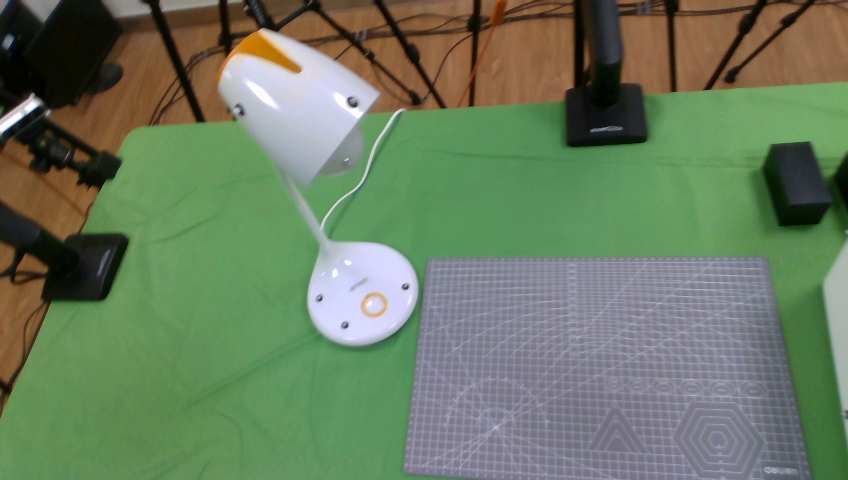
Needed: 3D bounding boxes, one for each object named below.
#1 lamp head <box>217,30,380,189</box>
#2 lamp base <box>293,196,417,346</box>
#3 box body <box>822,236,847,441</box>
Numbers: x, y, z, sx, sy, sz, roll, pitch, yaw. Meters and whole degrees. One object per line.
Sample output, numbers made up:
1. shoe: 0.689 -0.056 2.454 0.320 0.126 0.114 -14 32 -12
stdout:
1. lamp head: -0.118 -0.122 0.537 0.123 0.112 0.112 36 68 -7
2. lamp base: -0.112 0.029 0.797 0.160 0.182 0.177 -43 57 -15
3. box body: 0.564 0.151 0.584 0.253 0.162 0.361 3 59 14
